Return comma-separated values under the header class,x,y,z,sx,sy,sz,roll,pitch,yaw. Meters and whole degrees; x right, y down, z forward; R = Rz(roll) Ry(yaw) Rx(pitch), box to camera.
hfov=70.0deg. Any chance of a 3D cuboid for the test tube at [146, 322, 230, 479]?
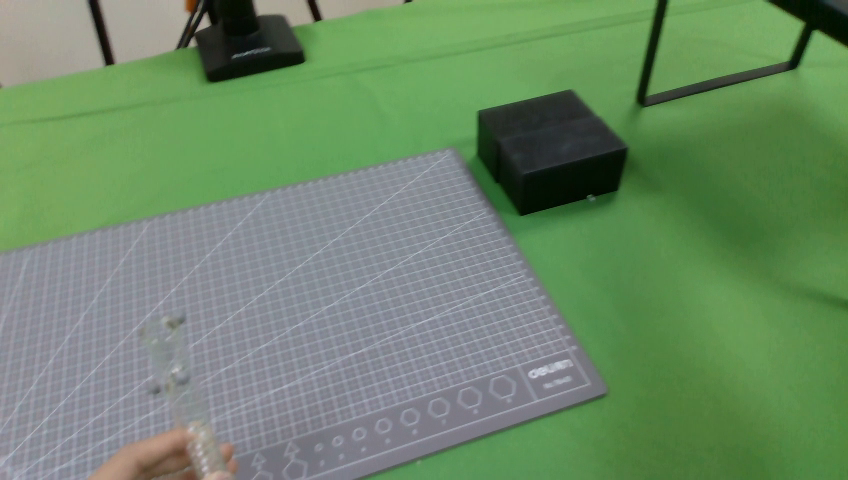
class,x,y,z,sx,sy,sz,roll,pitch,yaw
test tube,-0.110,0.101,0.299,0.017,0.151,0.017,0,35,0
